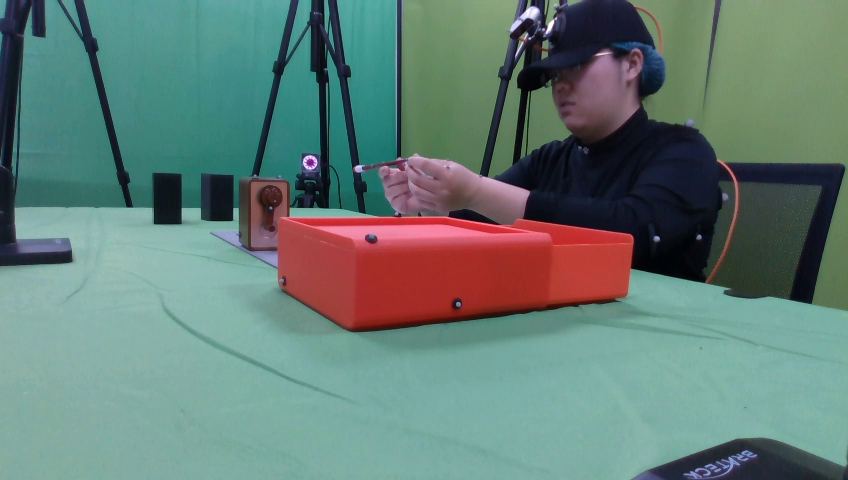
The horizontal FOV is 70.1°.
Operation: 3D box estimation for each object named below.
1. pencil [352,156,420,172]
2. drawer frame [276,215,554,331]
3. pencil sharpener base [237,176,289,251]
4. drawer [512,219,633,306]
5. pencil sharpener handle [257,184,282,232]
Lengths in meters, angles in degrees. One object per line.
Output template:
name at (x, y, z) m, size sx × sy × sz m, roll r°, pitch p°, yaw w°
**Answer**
pencil at (-0.066, -0.127, 1.011) m, size 0.012 × 0.012 × 0.193 m, roll -3°, pitch 1°, yaw -38°
drawer frame at (-0.015, 0.022, 0.610) m, size 0.215 × 0.082 × 0.200 m, roll -2°, pitch 9°, yaw -32°
pencil sharpener base at (-0.243, -0.040, 0.911) m, size 0.061 × 0.107 × 0.076 m, roll -1°, pitch 8°, yaw -28°
drawer at (0.085, 0.022, 0.674) m, size 0.213 × 0.073 × 0.193 m, roll -3°, pitch 9°, yaw -32°
pencil sharpener handle at (-0.219, -0.046, 0.865) m, size 0.036 × 0.067 × 0.030 m, roll 6°, pitch 5°, yaw -29°
